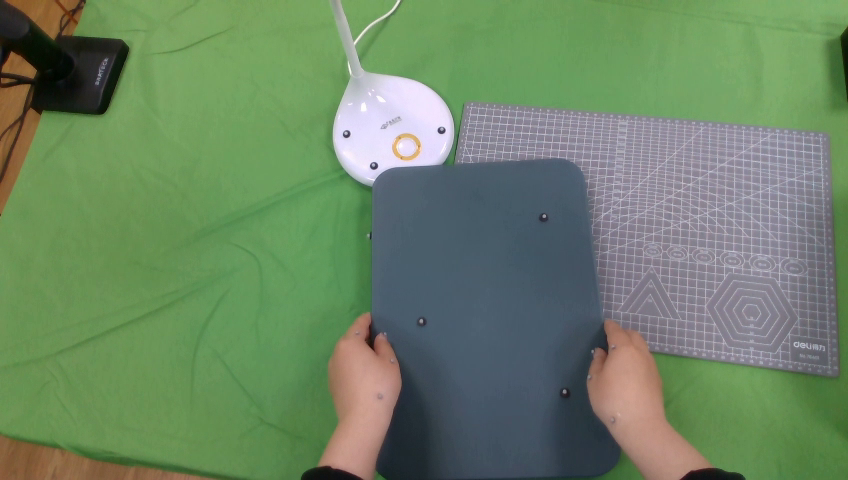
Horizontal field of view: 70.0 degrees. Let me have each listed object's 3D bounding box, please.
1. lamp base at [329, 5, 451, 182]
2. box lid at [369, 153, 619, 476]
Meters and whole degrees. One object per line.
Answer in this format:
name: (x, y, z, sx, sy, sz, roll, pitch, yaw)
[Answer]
lamp base: (-0.061, -0.180, 0.721, 0.160, 0.181, 0.178, -41, 69, -8)
box lid: (0.068, 0.068, 0.689, 0.263, 0.015, 0.368, -3, 69, 2)
